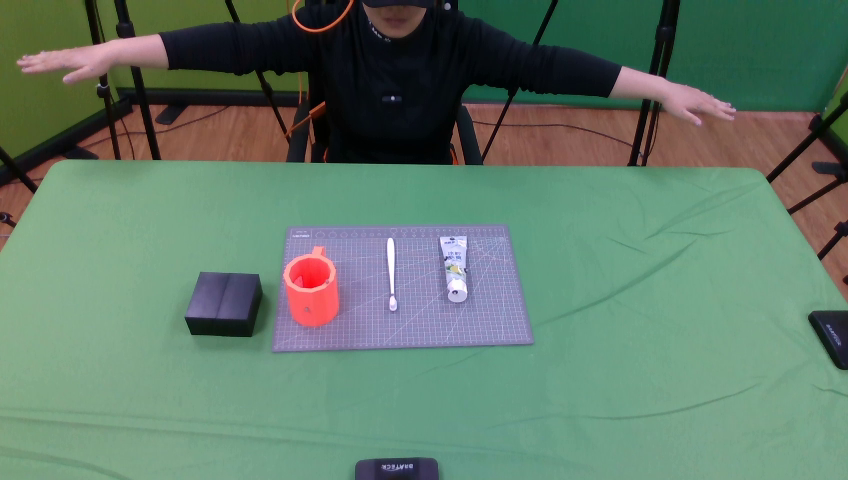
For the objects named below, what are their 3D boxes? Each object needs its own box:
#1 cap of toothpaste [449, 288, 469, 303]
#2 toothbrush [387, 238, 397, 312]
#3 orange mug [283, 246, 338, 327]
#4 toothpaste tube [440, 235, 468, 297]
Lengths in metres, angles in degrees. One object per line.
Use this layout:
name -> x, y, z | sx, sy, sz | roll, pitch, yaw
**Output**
cap of toothpaste -> 0.062, 0.098, 1.093 | 0.037, 0.037, 0.011 | 1, 43, -2
toothbrush -> -0.061, 0.059, 1.136 | 0.014, 0.017, 0.180 | -11, 45, 5
orange mug -> -0.193, 0.073, 1.056 | 0.083, 0.101, 0.125 | 5, 50, 1
toothpaste tube -> 0.062, 0.046, 1.150 | 0.055, 0.035, 0.164 | 3, 43, -6
